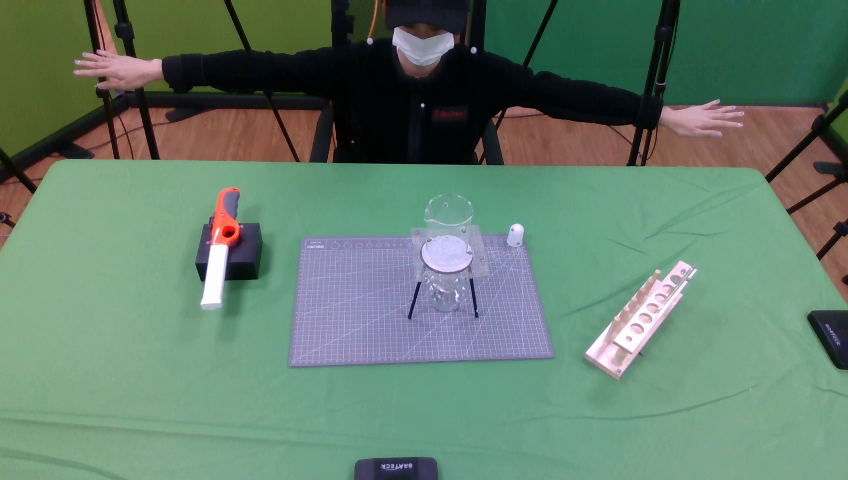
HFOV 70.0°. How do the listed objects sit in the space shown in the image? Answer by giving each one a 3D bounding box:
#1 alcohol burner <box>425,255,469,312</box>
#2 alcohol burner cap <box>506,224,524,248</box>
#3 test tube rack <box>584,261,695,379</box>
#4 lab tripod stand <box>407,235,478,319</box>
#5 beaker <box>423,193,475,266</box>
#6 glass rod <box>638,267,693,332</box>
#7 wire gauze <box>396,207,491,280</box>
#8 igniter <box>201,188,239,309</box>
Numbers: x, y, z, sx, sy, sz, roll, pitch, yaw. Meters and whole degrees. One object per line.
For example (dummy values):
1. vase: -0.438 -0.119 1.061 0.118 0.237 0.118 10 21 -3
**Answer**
1. alcohol burner: 0.041 0.072 1.065 0.078 0.120 0.077 1 46 -1
2. alcohol burner cap: 0.183 -0.010 1.206 0.034 0.048 0.033 1 45 0
3. test tube rack: 0.380 0.127 1.062 0.066 0.085 0.242 34 53 26
4. lab tripod stand: 0.032 0.065 1.057 0.148 0.132 0.147 1 45 -1
5. beaker: 0.036 -0.013 0.973 0.084 0.101 0.073 -18 48 -20
6. glass rod: 0.394 0.101 0.995 0.008 0.200 0.008 4 53 -5
7. wire gauze: 0.032 0.006 1.001 0.125 0.011 0.120 -20 52 -16
8. igniter: -0.367 0.006 1.095 0.057 0.025 0.274 -2 49 -7
